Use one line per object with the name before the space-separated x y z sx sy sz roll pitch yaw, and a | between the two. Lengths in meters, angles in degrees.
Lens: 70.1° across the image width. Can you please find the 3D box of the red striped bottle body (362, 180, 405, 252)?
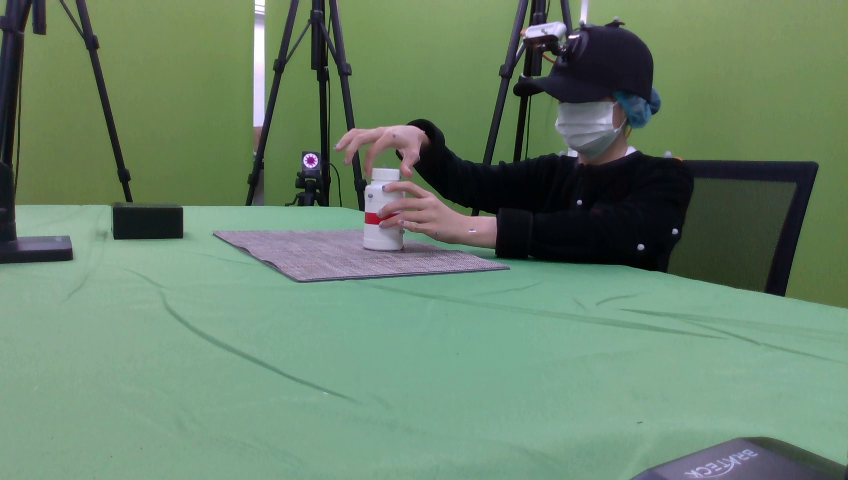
red striped bottle body | -0.062 -0.044 0.933 0.063 0.119 0.063 4 7 0

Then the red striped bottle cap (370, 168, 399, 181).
red striped bottle cap | -0.059 -0.100 0.925 0.044 0.017 0.044 4 6 0
